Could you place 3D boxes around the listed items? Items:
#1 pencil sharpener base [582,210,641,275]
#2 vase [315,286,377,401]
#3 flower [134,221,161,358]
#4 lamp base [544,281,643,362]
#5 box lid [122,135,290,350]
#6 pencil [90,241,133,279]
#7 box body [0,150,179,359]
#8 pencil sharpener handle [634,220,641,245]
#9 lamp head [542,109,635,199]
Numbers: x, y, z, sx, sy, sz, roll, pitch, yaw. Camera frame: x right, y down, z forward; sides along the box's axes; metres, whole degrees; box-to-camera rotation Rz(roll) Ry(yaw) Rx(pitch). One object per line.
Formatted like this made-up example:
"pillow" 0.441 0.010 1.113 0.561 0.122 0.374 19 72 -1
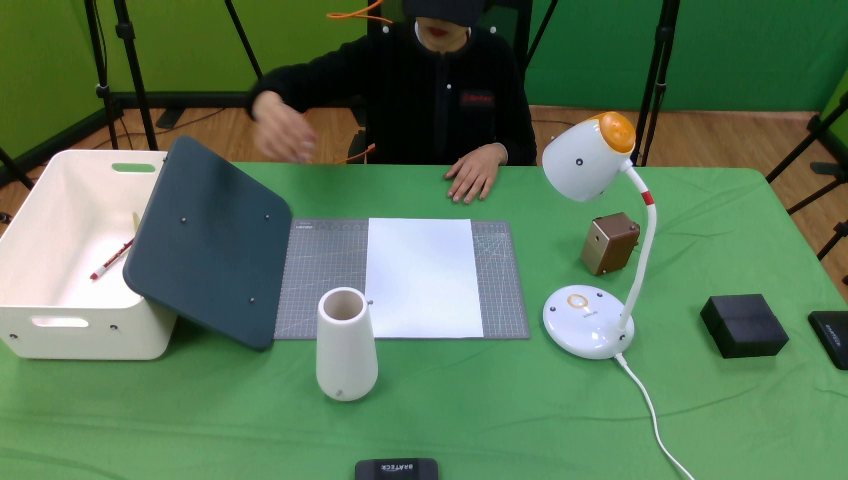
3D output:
"pencil sharpener base" 0.357 0.005 1.156 0.077 0.107 0.061 -15 48 -18
"vase" -0.119 0.159 0.911 0.098 0.201 0.097 2 47 -2
"flower" -0.508 0.072 1.093 0.044 0.038 0.359 -41 45 8
"lamp base" 0.304 0.095 1.014 0.161 0.181 0.178 -24 54 -24
"box lid" -0.355 -0.006 1.059 0.015 0.265 0.369 -33 39 27
"pencil" -0.551 0.006 1.145 0.012 0.012 0.193 23 51 17
"box body" -0.541 0.021 1.041 0.254 0.161 0.361 1 46 -3
"pencil sharpener handle" 0.405 -0.015 1.161 0.031 0.068 0.035 -15 43 -18
"lamp head" 0.253 -0.131 0.893 0.113 0.123 0.112 10 66 -24
